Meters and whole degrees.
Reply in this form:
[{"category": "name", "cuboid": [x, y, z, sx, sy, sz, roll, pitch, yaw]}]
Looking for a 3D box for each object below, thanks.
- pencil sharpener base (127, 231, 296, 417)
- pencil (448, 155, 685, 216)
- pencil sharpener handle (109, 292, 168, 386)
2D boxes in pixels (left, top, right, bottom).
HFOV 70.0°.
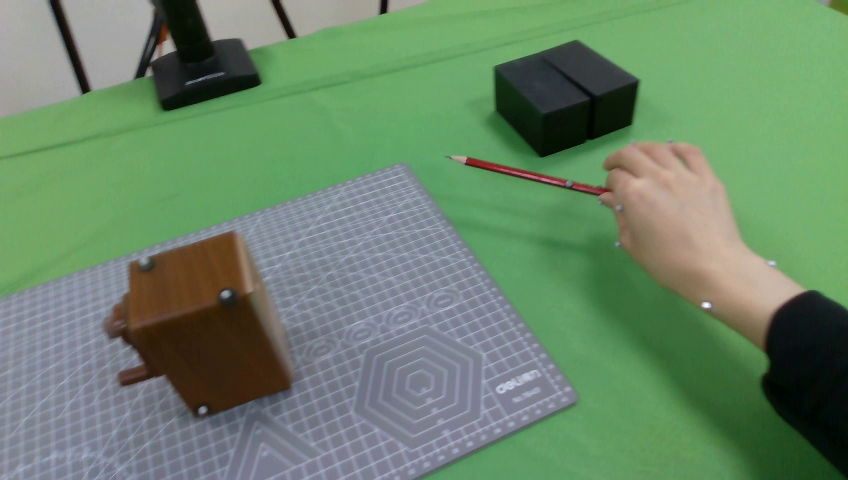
[{"category": "pencil sharpener base", "cuboid": [-0.136, 0.059, 0.399, 0.077, 0.108, 0.060, -17, 46, -10]}, {"category": "pencil", "cuboid": [0.110, -0.047, 0.491, 0.193, 0.012, 0.012, 16, 49, 16]}, {"category": "pencil sharpener handle", "cuboid": [-0.185, 0.066, 0.381, 0.031, 0.068, 0.035, -17, 39, -10]}]
